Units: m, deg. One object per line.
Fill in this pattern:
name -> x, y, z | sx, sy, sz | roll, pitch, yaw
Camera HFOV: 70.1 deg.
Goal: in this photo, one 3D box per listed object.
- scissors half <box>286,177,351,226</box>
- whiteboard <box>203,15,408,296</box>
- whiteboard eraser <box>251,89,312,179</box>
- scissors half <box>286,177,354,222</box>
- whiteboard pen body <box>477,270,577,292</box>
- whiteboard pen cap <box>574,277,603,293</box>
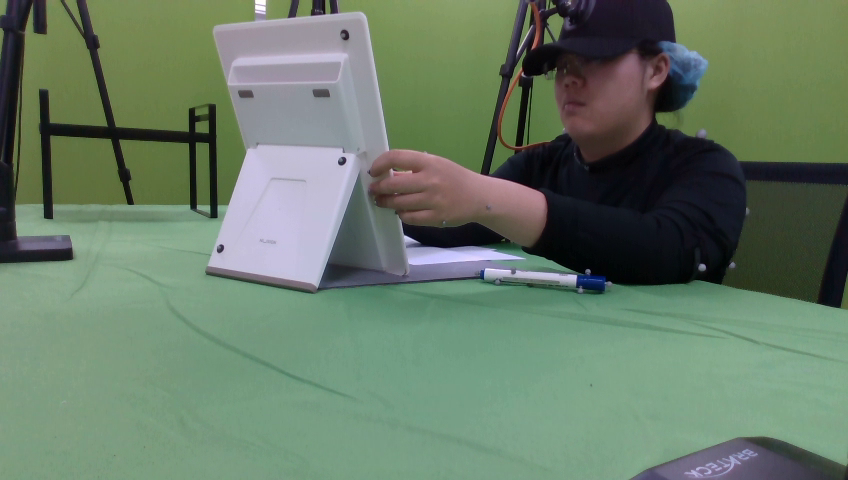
scissors half -> -0.232, -0.085, 1.317 | 0.175, 0.013, 0.040 | 37, 18, 5
whiteboard -> -0.166, -0.072, 0.668 | 0.216, 0.305, 0.144 | 8, 30, 30
whiteboard eraser -> -0.179, -0.131, 0.757 | 0.055, 0.113, 0.042 | 8, 32, 25
scissors half -> -0.230, -0.090, 1.337 | 0.175, 0.013, 0.040 | 33, 13, -13
whiteboard pen body -> 0.131, 0.049, 0.706 | 0.140, 0.017, 0.017 | 5, 8, 18
whiteboard pen cap -> 0.186, 0.051, 0.687 | 0.033, 0.018, 0.018 | 5, 8, 17
